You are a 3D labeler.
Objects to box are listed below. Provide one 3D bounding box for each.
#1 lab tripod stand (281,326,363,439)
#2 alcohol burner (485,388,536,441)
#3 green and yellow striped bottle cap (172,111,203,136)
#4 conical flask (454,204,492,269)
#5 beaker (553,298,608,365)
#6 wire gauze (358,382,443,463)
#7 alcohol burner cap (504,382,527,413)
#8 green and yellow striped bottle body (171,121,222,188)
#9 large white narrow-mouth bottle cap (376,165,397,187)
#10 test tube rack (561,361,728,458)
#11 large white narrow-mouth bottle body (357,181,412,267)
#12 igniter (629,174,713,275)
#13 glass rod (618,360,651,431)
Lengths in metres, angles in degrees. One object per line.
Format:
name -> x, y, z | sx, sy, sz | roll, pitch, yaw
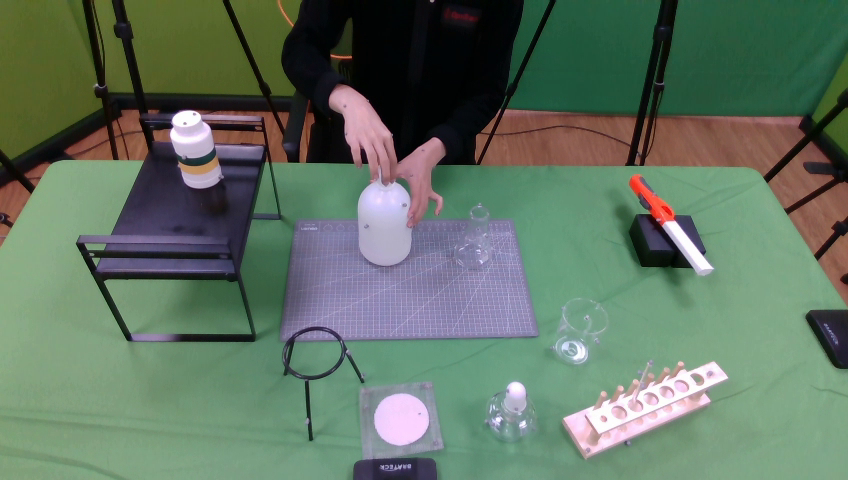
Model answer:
lab tripod stand -> -0.166, 0.202, 0.913 | 0.148, 0.132, 0.147 | 1, 47, -1
alcohol burner -> 0.131, 0.249, 0.904 | 0.078, 0.120, 0.077 | 1, 48, -1
green and yellow striped bottle cap -> -0.374, -0.185, 0.957 | 0.045, 0.020, 0.045 | 3, 45, -3
conical flask -> 0.097, -0.009, 1.140 | 0.075, 0.122, 0.075 | 2, 46, -2
beaker -> 0.260, 0.154, 1.015 | 0.073, 0.101, 0.084 | 37, 54, 27
wire gauze -> -0.039, 0.276, 0.937 | 0.121, 0.011, 0.124 | -4, 47, -7
alcohol burner cap -> 0.133, 0.225, 0.877 | 0.034, 0.048, 0.033 | -4, 47, 5
green and yellow striped bottle body -> -0.375, -0.149, 0.995 | 0.063, 0.120, 0.063 | 2, 46, -2
large white narrow-mouth bottle cap -> -0.064, -0.111, 1.046 | 0.038, 0.024, 0.037 | 4, 46, -4
test tube rack -> 0.341, 0.248, 0.940 | 0.243, 0.085, 0.066 | -15, 49, -18
large white narrow-mouth bottle body -> -0.073, -0.047, 1.115 | 0.102, 0.195, 0.101 | 3, 46, -3
igniter -> 0.481, -0.040, 1.202 | 0.057, 0.025, 0.274 | -2, 46, -21
glass rod -> 0.298, 0.226, 0.865 | 0.008, 0.201, 0.008 | -1, 48, 2
